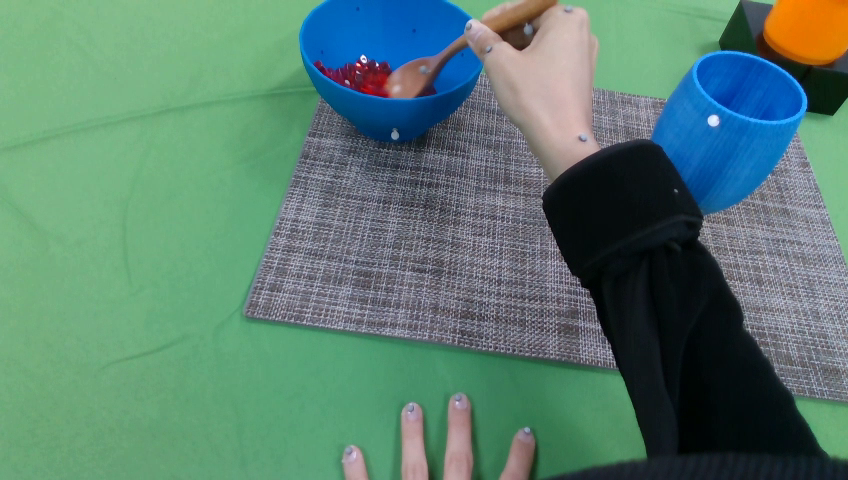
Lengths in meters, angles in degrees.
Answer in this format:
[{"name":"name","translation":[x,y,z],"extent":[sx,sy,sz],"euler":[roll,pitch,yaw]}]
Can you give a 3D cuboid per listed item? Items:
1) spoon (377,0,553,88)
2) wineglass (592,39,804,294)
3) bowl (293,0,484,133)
[{"name":"spoon","translation":[0.022,-0.144,0.445],"extent":[0.022,0.193,0.041],"euler":[26,71,-29]},{"name":"wineglass","translation":[0.166,-0.038,0.394],"extent":[0.074,0.173,0.073],"euler":[3,53,-3]},{"name":"bowl","translation":[-0.030,-0.144,0.511],"extent":[0.151,0.077,0.150],"euler":[3,54,-4]}]
